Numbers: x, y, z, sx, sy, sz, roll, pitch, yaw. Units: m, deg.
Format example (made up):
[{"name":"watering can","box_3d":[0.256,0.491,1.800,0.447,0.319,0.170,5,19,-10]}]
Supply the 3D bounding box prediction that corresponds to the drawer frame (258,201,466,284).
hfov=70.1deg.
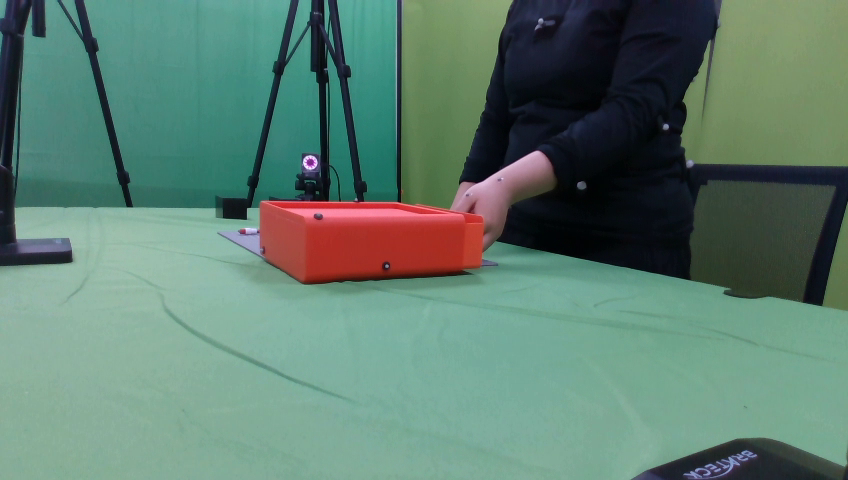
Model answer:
[{"name":"drawer frame","box_3d":[-0.086,-0.005,0.793,0.215,0.082,0.200,-3,10,-30]}]

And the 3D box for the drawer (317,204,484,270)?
[{"name":"drawer","box_3d":[-0.059,-0.005,0.809,0.213,0.073,0.193,-3,10,-29]}]

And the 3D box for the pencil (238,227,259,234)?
[{"name":"pencil","box_3d":[-0.240,-0.015,1.105,0.195,0.012,0.012,1,7,-29]}]
